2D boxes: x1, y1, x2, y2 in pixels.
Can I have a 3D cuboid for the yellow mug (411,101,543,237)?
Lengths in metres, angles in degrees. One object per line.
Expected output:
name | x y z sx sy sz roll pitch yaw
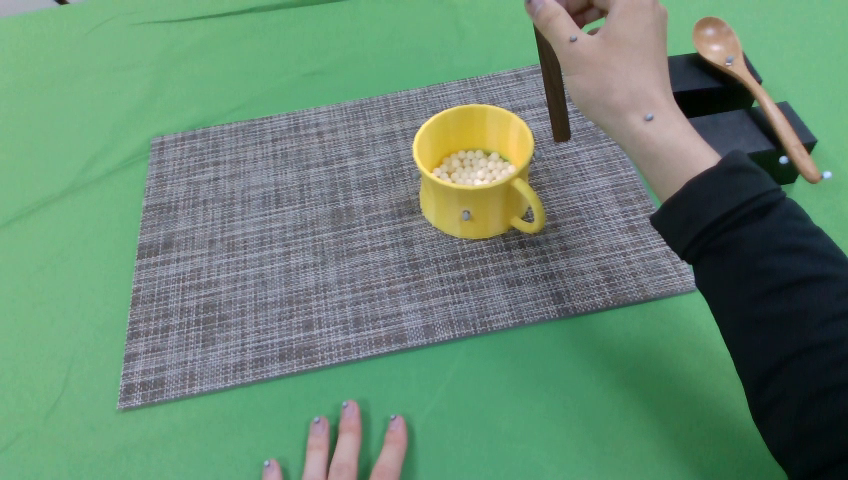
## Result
yellow mug | 0.051 -0.053 0.510 0.100 0.064 0.129 -37 59 -21

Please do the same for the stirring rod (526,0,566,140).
stirring rod | 0.080 -0.153 0.421 0.014 0.177 0.006 -1 30 28

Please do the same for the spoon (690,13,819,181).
spoon | 0.278 -0.126 0.512 0.041 0.022 0.191 -11 55 -3
